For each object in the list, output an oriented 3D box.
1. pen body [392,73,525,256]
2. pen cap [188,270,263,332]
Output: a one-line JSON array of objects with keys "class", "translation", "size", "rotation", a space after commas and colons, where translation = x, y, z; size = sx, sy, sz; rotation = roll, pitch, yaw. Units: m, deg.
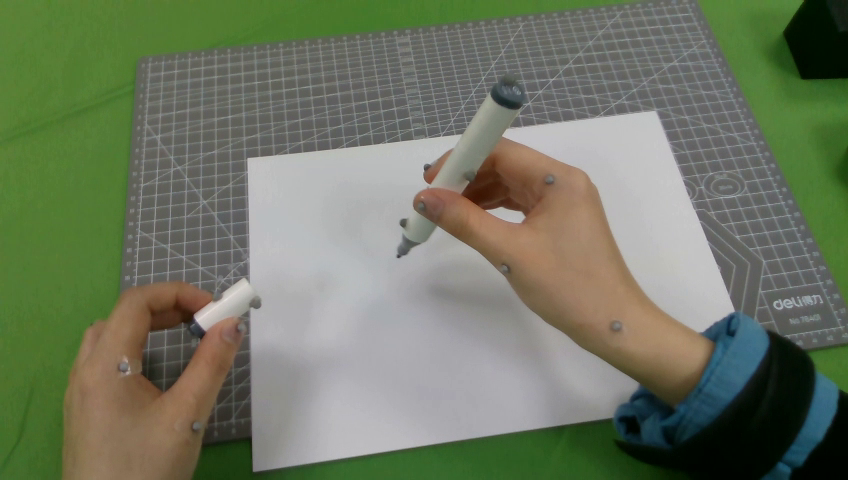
[{"class": "pen body", "translation": [0.010, -0.028, 0.306], "size": [0.017, 0.144, 0.016], "rotation": [13, 55, -19]}, {"class": "pen cap", "translation": [-0.105, 0.033, 0.320], "size": [0.038, 0.017, 0.017], "rotation": [-35, 68, -3]}]
